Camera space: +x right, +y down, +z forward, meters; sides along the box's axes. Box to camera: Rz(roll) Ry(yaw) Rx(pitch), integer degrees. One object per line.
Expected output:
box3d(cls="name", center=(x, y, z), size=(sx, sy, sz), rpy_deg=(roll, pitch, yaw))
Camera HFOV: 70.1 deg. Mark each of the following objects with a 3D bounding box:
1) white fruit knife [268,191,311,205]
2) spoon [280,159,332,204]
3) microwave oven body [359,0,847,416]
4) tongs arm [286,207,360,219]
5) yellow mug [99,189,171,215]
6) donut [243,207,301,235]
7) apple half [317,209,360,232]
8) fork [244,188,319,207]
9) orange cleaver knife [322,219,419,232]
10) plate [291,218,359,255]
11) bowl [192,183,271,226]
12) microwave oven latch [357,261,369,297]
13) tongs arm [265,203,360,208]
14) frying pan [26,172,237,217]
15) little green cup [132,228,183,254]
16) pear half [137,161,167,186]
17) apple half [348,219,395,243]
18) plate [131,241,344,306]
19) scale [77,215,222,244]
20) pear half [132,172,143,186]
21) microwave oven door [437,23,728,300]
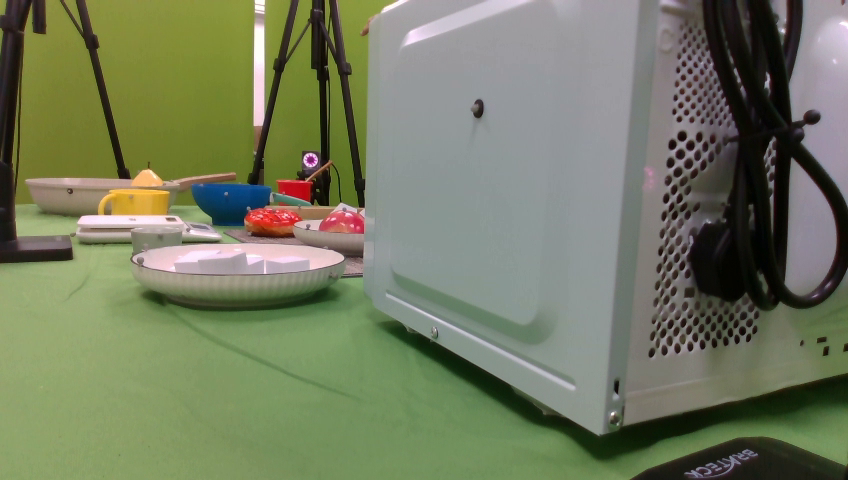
box3d(cls="white fruit knife", center=(-0.364, -0.105, 1.463), size=(0.208, 0.027, 0.016), rpy_deg=(15, -2, -34))
box3d(cls="spoon", center=(-0.316, -0.159, 1.640), size=(0.194, 0.022, 0.041), rpy_deg=(-50, 31, -20))
box3d(cls="microwave oven body", center=(0.211, -0.047, 0.474), size=(0.444, 0.260, 0.324), rpy_deg=(-1, 7, -28))
box3d(cls="tongs arm", center=(-0.174, -0.060, 1.363), size=(0.387, 0.026, 0.050), rpy_deg=(-1, 5, -31))
box3d(cls="yellow mug", center=(-0.519, -0.055, 1.080), size=(0.099, 0.064, 0.131), rpy_deg=(7, 9, 26))
box3d(cls="donut", center=(-0.261, -0.032, 1.043), size=(0.099, 0.048, 0.099), rpy_deg=(4, 9, 0))
box3d(cls="apple half", center=(-0.121, -0.020, 0.900), size=(0.080, 0.053, 0.075), rpy_deg=(4, 11, 14))
box3d(cls="fork", center=(-0.356, -0.105, 1.526), size=(0.208, 0.018, 0.028), rpy_deg=(16, -5, -41))
box3d(cls="orange cleaver knife", center=(-0.097, -0.027, 1.153), size=(0.077, 0.012, 0.212), rpy_deg=(1, 6, 41))
box3d(cls="plate", center=(-0.098, -0.007, 0.928), size=(0.209, 0.038, 0.209), rpy_deg=(3, 8, 0))
box3d(cls="bowl", center=(-0.382, -0.071, 1.202), size=(0.151, 0.077, 0.151), rpy_deg=(3, 7, 0))
box3d(cls="microwave oven latch", center=(-0.019, 0.033, 0.530), size=(0.079, 0.029, 0.030), rpy_deg=(-1, 7, -26))
box3d(cls="tongs arm", center=(-0.210, -0.069, 1.438), size=(0.389, 0.027, 0.028), rpy_deg=(1, 0, -17))
box3d(cls="frying pan", center=(-0.624, -0.118, 1.387), size=(0.305, 0.102, 0.490), rpy_deg=(8, 17, 32))
box3d(cls="little green cup", center=(-0.342, 0.006, 0.779), size=(0.061, 0.038, 0.061), rpy_deg=(2, 8, 0))
box3d(cls="pear half", center=(-0.602, -0.120, 1.354), size=(0.056, 0.110, 0.076), rpy_deg=(4, 11, 6))
box3d(cls="apple half", center=(-0.083, -0.018, 0.967), size=(0.081, 0.033, 0.081), rpy_deg=(5, 10, -1))
box3d(cls="plate", center=(-0.187, 0.033, 0.625), size=(0.208, 0.039, 0.207), rpy_deg=(2, 7, 0))
box3d(cls="scale", center=(-0.434, -0.019, 0.963), size=(0.202, 0.031, 0.148), rpy_deg=(-1, 9, -27))
box3d(cls="pear half", center=(-0.638, -0.113, 1.361), size=(0.031, 0.088, 0.070), rpy_deg=(5, 10, 4))
box3d(cls="microwave oven door", center=(0.181, -0.072, 0.621), size=(0.358, 0.243, 0.039), rpy_deg=(-2, 8, -29))
